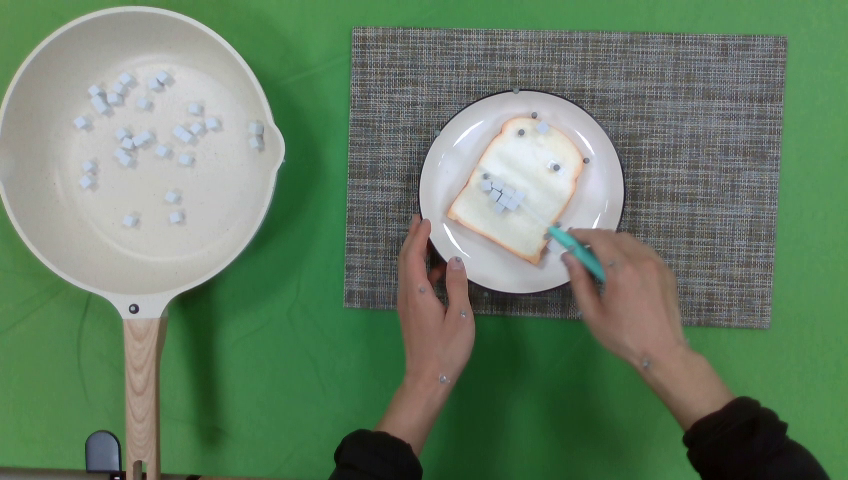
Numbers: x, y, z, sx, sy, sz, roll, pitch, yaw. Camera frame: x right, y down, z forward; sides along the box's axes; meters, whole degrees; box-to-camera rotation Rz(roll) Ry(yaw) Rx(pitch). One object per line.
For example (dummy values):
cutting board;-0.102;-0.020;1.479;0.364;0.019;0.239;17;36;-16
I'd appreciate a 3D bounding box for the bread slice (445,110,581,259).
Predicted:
bread slice;0.096;-0.064;0.625;0.107;0.018;0.134;26;96;1

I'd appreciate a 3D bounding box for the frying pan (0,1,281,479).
frying pan;-0.288;0.013;0.621;0.307;0.103;0.486;-2;84;4

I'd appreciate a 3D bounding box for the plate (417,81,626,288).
plate;0.098;-0.055;0.624;0.207;0.039;0.207;0;93;4

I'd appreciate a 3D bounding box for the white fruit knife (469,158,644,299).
white fruit knife;0.122;-0.013;0.573;0.206;0.027;0.016;39;106;8
